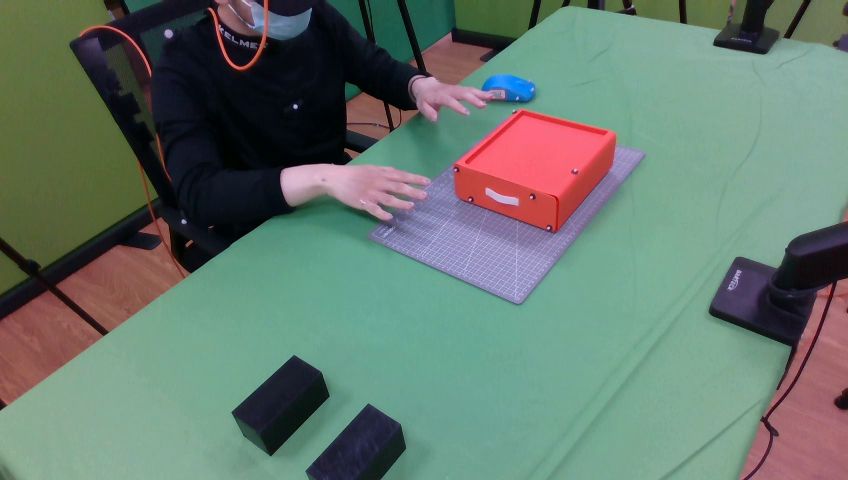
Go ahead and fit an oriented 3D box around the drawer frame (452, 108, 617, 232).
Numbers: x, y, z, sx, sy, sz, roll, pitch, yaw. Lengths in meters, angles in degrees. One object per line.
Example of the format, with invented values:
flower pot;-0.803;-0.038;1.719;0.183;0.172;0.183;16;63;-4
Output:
drawer frame;0.190;-0.128;1.039;0.200;0.083;0.214;21;47;30

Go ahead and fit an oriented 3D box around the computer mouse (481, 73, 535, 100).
computer mouse;0.183;-0.335;1.320;0.117;0.041;0.063;11;42;14

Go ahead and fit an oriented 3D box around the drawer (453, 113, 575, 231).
drawer;0.189;-0.126;1.038;0.193;0.073;0.212;22;48;31
